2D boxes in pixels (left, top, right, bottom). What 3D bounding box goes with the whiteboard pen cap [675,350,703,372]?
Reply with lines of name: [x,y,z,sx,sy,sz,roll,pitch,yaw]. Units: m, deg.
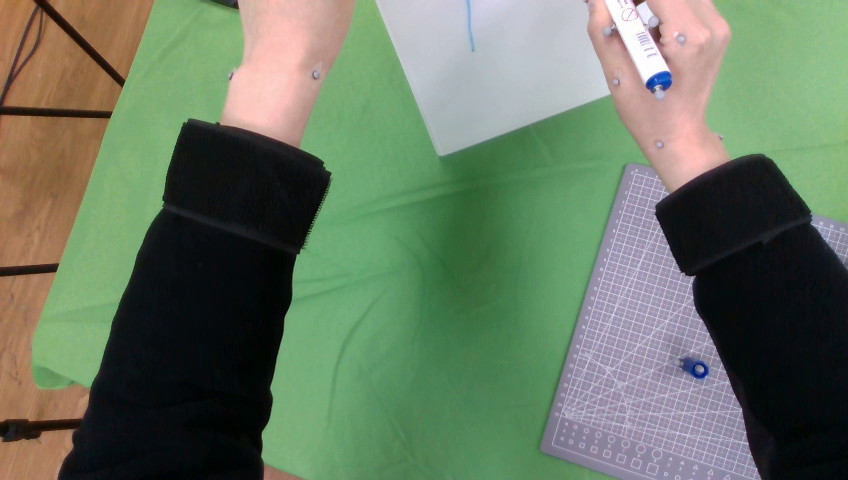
whiteboard pen cap: [0.252,0.114,0.577,0.018,0.033,0.018,0,90,5]

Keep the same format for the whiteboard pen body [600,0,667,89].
whiteboard pen body: [0.120,-0.153,0.383,0.017,0.017,0.139,-17,66,5]

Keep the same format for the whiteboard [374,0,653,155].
whiteboard: [0.063,-0.237,0.499,0.217,0.308,0.142,-19,67,6]
